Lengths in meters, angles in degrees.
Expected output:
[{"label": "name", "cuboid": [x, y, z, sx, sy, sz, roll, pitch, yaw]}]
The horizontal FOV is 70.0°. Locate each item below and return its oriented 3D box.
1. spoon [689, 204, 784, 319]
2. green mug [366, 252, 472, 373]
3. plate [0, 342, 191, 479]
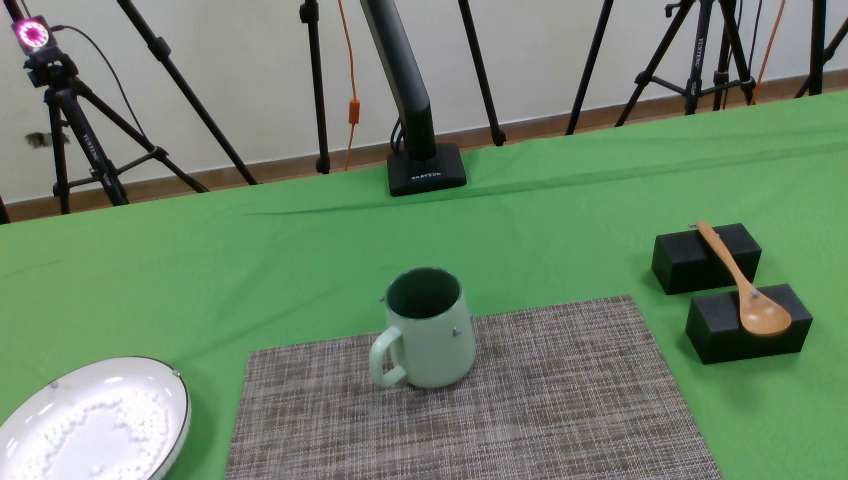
[{"label": "spoon", "cuboid": [0.318, 0.015, 0.634, 0.041, 0.022, 0.192, -20, 38, 14]}, {"label": "green mug", "cuboid": [-0.010, 0.086, 0.623, 0.091, 0.106, 0.125, 27, 52, 35]}, {"label": "plate", "cuboid": [-0.338, 0.194, 0.618, 0.209, 0.038, 0.207, -5, 40, 5]}]
